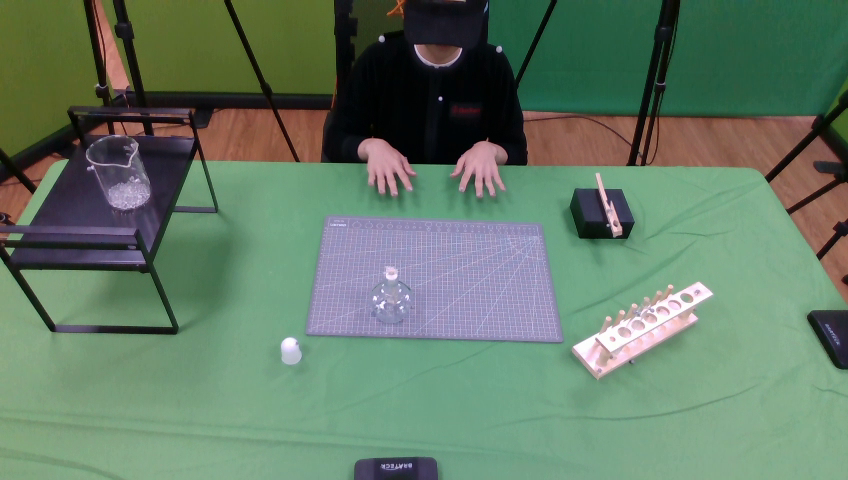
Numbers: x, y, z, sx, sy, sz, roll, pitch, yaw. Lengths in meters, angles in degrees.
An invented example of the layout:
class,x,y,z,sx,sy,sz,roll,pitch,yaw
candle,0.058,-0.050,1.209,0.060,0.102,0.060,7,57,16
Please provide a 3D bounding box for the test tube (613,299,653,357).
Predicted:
class,x,y,z,sx,sy,sz,roll,pitch,yaw
test tube,0.329,0.143,0.963,0.017,0.151,0.017,4,48,-4

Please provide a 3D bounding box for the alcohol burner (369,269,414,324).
class,x,y,z,sx,sy,sz,roll,pitch,yaw
alcohol burner,-0.056,0.089,1.037,0.078,0.120,0.077,1,47,-1

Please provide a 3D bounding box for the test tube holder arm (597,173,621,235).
class,x,y,z,sx,sy,sz,roll,pitch,yaw
test tube holder arm,0.373,-0.076,1.228,0.013,0.015,0.177,-6,45,3

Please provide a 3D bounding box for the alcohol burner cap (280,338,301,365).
class,x,y,z,sx,sy,sz,roll,pitch,yaw
alcohol burner cap,-0.220,0.179,0.993,0.034,0.048,0.033,2,46,-2

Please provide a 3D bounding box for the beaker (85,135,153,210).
class,x,y,z,sx,sy,sz,roll,pitch,yaw
beaker,-0.475,-0.102,0.957,0.083,0.101,0.074,34,53,26

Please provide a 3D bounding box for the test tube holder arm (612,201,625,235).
class,x,y,z,sx,sy,sz,roll,pitch,yaw
test tube holder arm,0.380,-0.045,1.196,0.010,0.015,0.087,-6,45,3

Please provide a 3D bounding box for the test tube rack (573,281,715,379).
class,x,y,z,sx,sy,sz,roll,pitch,yaw
test tube rack,0.378,0.140,1.038,0.242,0.085,0.066,-22,51,-23
